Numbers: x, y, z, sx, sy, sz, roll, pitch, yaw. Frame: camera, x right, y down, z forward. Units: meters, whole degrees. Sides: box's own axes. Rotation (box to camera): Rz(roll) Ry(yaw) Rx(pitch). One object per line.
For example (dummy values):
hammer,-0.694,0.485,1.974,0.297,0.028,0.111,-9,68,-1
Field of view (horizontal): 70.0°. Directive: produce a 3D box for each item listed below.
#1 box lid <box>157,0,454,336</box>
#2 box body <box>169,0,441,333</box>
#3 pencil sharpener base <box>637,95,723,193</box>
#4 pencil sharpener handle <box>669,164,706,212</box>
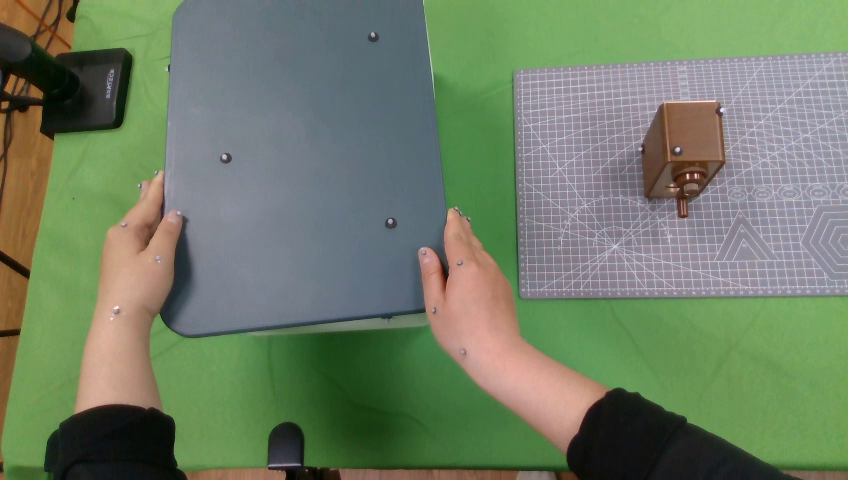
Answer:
box lid,-0.119,-0.101,0.584,0.263,0.015,0.369,-6,71,0
box body,-0.114,-0.082,0.682,0.254,0.161,0.362,-4,73,6
pencil sharpener base,0.277,-0.099,0.663,0.061,0.108,0.076,-1,74,7
pencil sharpener handle,0.276,-0.053,0.637,0.036,0.068,0.030,-2,74,13
